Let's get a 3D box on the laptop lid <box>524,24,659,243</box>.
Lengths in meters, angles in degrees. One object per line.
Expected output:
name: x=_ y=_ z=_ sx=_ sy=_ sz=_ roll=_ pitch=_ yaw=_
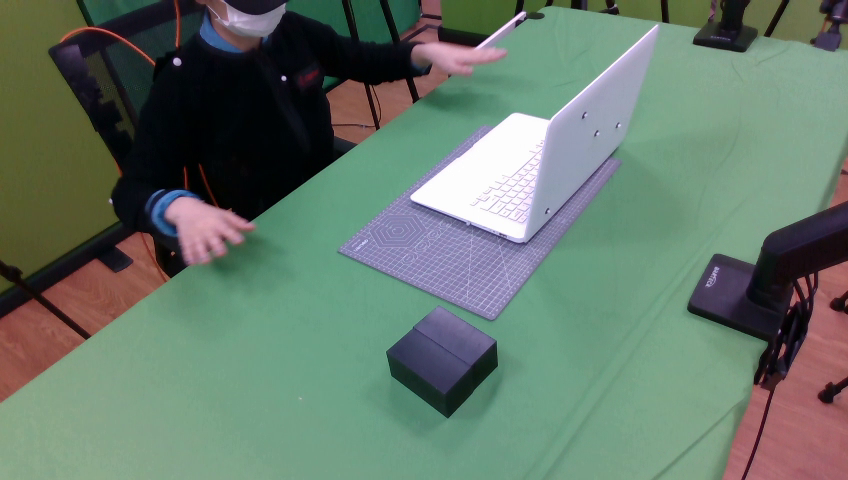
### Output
laptop lid: x=0.266 y=-0.170 z=0.949 sx=0.013 sy=0.242 sz=0.358 roll=30 pitch=50 yaw=25

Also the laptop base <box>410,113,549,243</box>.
laptop base: x=0.171 y=-0.126 z=1.096 sx=0.233 sy=0.023 sz=0.355 roll=21 pitch=47 yaw=33
